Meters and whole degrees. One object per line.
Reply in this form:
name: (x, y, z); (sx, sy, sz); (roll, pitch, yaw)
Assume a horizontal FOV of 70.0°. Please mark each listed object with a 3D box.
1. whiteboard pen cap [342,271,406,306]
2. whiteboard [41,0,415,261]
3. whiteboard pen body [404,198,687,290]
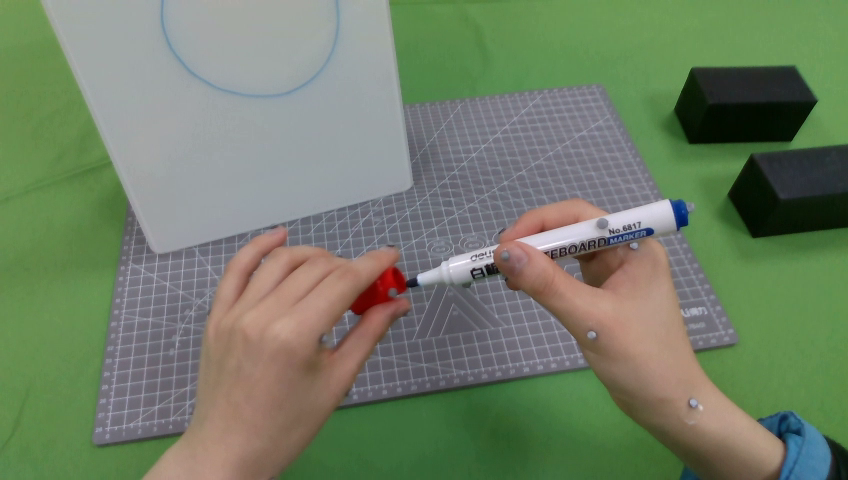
whiteboard pen cap: (-0.026, 0.026, 0.327); (0.032, 0.017, 0.017); (-7, 52, 12)
whiteboard: (-0.145, -0.172, 0.465); (0.217, 0.308, 0.142); (-16, 36, -12)
whiteboard pen body: (0.055, 0.005, 0.296); (0.140, 0.017, 0.016); (-16, 51, 16)
